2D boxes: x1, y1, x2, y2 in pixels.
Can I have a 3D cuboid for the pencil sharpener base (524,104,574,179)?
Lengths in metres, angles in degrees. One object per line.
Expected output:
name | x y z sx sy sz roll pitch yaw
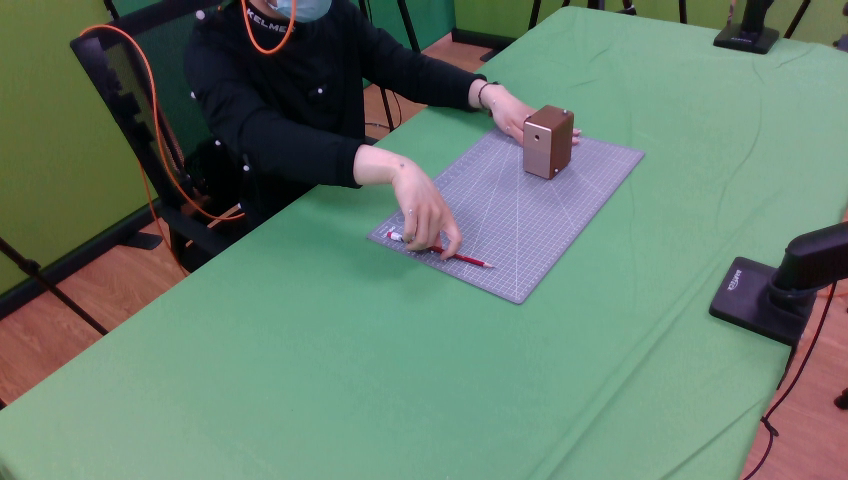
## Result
pencil sharpener base | 0.222 -0.176 1.071 0.061 0.107 0.077 26 50 33

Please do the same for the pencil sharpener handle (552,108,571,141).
pencil sharpener handle | 0.254 -0.212 1.091 0.035 0.068 0.031 27 51 33

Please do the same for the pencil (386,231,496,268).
pencil | 0.023 0.016 0.950 0.193 0.012 0.012 17 46 23
